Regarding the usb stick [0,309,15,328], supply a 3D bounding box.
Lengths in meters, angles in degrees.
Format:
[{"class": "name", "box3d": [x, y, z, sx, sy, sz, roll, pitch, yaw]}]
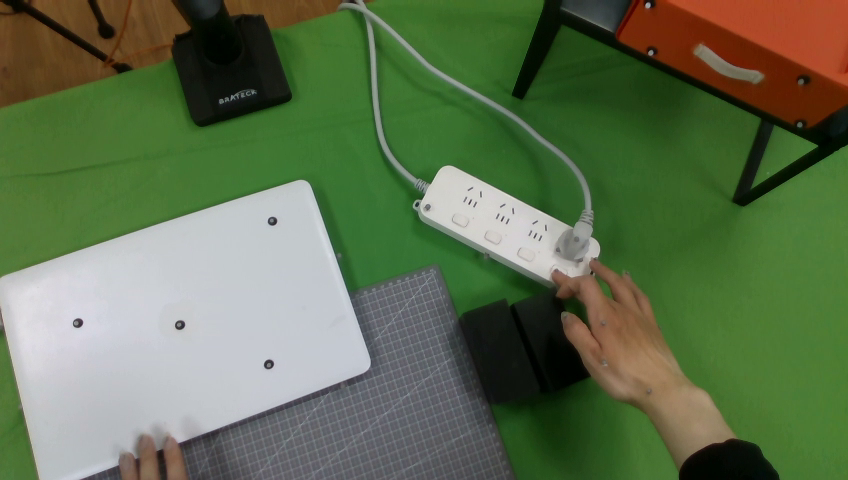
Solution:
[{"class": "usb stick", "box3d": [-0.469, 0.086, 0.642, 0.059, 0.027, 0.021, -16, 71, -10]}]

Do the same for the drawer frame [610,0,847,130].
[{"class": "drawer frame", "box3d": [0.309, -0.243, 0.559, 0.201, 0.083, 0.213, 26, 76, 4]}]

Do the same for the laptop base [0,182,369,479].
[{"class": "laptop base", "box3d": [-0.262, 0.094, 0.664, 0.355, 0.023, 0.234, -20, 80, -8]}]

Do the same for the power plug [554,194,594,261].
[{"class": "power plug", "box3d": [0.175, -0.009, 0.681, 0.035, 0.053, 0.072, 37, 76, 6]}]

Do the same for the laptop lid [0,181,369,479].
[{"class": "laptop lid", "box3d": [-0.261, 0.093, 0.651, 0.357, 0.013, 0.240, -18, 79, -7]}]

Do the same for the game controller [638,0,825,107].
[{"class": "game controller", "box3d": [0.290, -0.200, 0.563, 0.155, 0.052, 0.097, 29, 80, 7]}]

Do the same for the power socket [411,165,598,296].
[{"class": "power socket", "box3d": [0.095, -0.011, 0.701, 0.226, 0.033, 0.072, 28, 76, 4]}]

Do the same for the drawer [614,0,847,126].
[{"class": "drawer", "box3d": [0.310, -0.240, 0.560, 0.194, 0.073, 0.211, 26, 76, 4]}]
